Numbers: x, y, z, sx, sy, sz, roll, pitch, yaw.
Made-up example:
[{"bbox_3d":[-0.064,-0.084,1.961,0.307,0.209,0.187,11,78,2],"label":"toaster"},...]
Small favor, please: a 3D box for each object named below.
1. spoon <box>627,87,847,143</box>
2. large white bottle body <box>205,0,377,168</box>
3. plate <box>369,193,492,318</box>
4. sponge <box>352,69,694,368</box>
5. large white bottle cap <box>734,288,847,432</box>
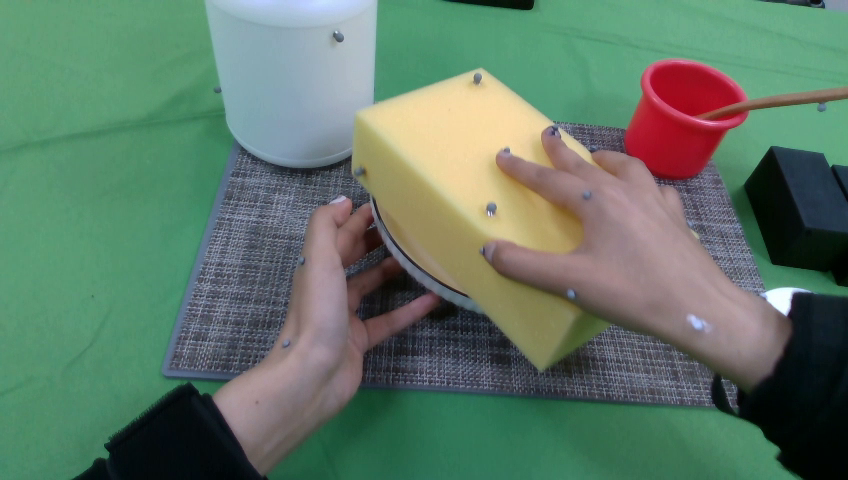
[{"bbox_3d":[0.272,-0.111,0.533,0.041,0.193,0.022,-46,115,-36],"label":"spoon"},{"bbox_3d":[-0.104,-0.165,0.491,0.131,0.186,0.129,4,50,-4],"label":"large white bottle body"},{"bbox_3d":[0.058,-0.018,0.482,0.210,0.038,0.207,9,48,-10],"label":"plate"},{"bbox_3d":[0.057,-0.028,0.415,0.118,0.061,0.205,-28,58,-30],"label":"sponge"},{"bbox_3d":[0.294,0.087,0.457,0.115,0.018,0.113,6,51,-7],"label":"large white bottle cap"}]
